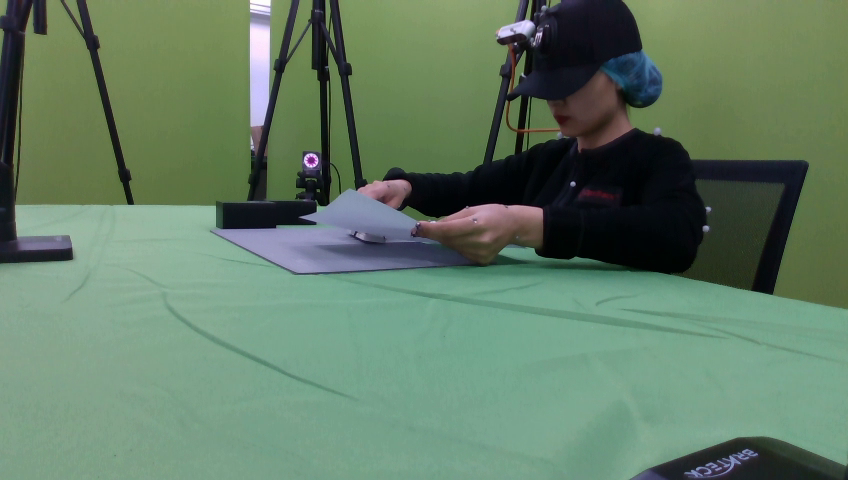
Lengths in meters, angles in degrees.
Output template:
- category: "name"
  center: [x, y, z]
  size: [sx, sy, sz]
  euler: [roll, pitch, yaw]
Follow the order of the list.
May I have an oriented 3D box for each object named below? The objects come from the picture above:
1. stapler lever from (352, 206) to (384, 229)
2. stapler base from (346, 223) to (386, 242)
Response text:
- category: "stapler lever"
  center: [-0.098, -0.041, 1.056]
  size: [0.027, 0.040, 0.117]
  euler: [9, 3, -22]
- category: "stapler base"
  center: [-0.101, -0.017, 1.057]
  size: [0.041, 0.024, 0.130]
  euler: [9, 2, -22]
